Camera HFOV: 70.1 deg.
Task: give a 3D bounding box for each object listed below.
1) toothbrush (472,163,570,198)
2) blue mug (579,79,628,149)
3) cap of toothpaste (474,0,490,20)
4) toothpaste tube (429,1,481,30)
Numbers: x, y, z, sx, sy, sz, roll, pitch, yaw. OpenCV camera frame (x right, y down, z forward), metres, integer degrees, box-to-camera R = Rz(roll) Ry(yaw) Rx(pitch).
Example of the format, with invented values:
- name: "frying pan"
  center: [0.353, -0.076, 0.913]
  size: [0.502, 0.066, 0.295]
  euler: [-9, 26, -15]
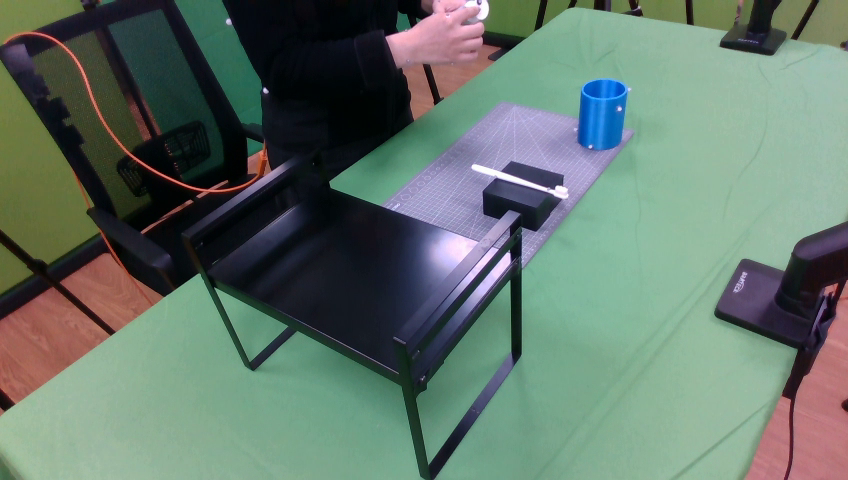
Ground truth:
- name: "toothbrush"
  center: [0.157, -0.101, 0.996]
  size: [0.180, 0.017, 0.014]
  euler: [22, 55, 30]
- name: "blue mug"
  center: [0.336, -0.246, 1.143]
  size: [0.082, 0.106, 0.116]
  euler: [0, 41, 10]
- name: "cap of toothpaste"
  center: [0.096, -0.391, 1.023]
  size: [0.037, 0.037, 0.011]
  euler: [-34, 30, -27]
- name: "toothpaste tube"
  center: [0.066, -0.402, 1.099]
  size: [0.055, 0.034, 0.164]
  euler: [-6, 10, -22]
